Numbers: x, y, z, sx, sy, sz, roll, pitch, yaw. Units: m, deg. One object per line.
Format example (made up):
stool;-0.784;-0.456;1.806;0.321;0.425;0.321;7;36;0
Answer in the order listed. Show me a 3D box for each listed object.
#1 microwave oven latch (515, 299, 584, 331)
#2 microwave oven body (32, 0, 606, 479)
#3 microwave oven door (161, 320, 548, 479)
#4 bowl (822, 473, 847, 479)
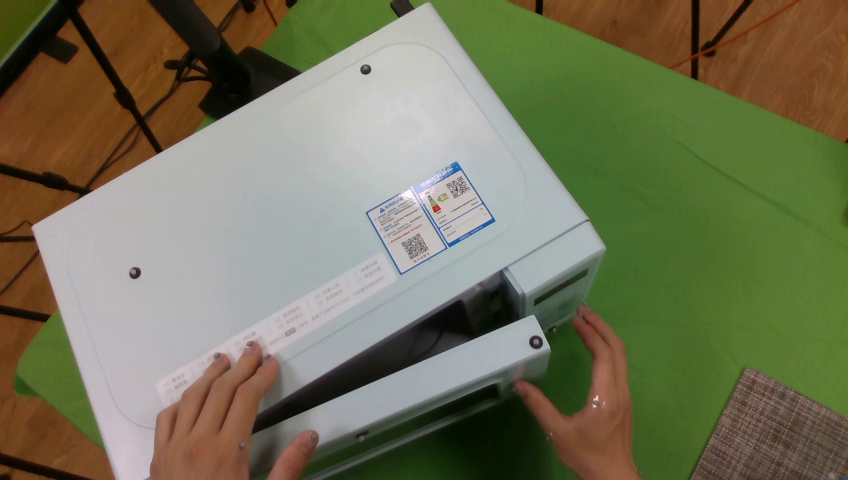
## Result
microwave oven latch;0.143;0.082;0.692;0.079;0.030;0.030;-29;70;-1
microwave oven body;-0.097;0.021;0.645;0.442;0.262;0.323;-31;70;-2
microwave oven door;-0.053;0.177;0.580;0.356;0.245;0.039;-23;68;0
bowl;0.409;0.297;0.571;0.151;0.077;0.150;-3;70;8
